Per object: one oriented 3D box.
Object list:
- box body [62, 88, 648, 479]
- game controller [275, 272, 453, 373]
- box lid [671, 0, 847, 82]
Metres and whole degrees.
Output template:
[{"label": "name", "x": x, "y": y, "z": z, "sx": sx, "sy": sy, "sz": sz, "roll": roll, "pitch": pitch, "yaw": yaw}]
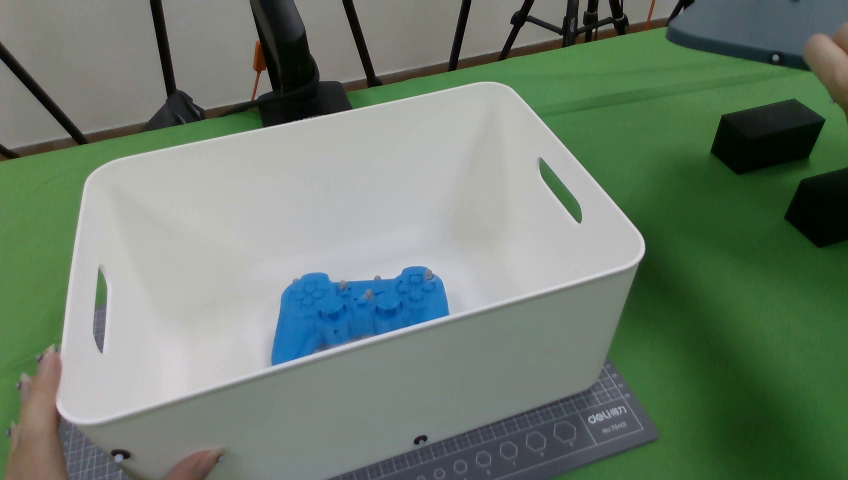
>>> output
[{"label": "box body", "x": -0.052, "y": 0.036, "z": 0.488, "sx": 0.365, "sy": 0.162, "sz": 0.251, "roll": -15, "pitch": 44, "yaw": -11}, {"label": "game controller", "x": -0.050, "y": 0.069, "z": 0.528, "sx": 0.155, "sy": 0.052, "sz": 0.096, "roll": -3, "pitch": 38, "yaw": 1}, {"label": "box lid", "x": 0.416, "y": -0.159, "z": 0.506, "sx": 0.369, "sy": 0.015, "sz": 0.263, "roll": 21, "pitch": 37, "yaw": 25}]
